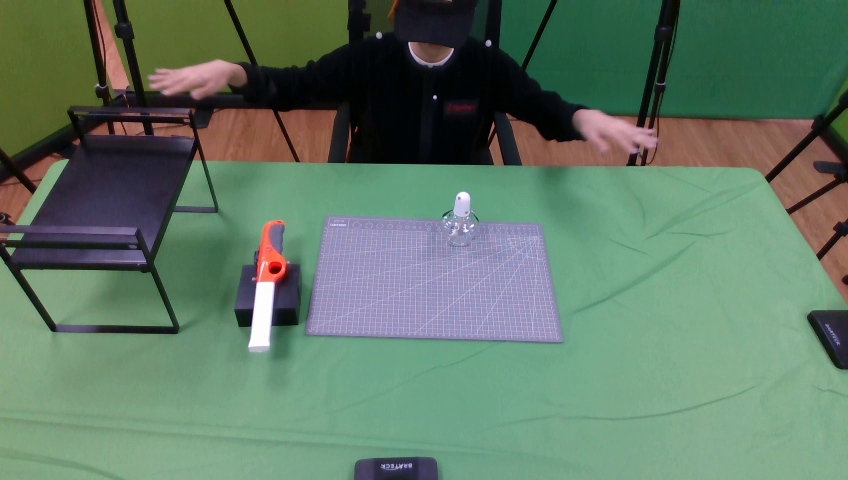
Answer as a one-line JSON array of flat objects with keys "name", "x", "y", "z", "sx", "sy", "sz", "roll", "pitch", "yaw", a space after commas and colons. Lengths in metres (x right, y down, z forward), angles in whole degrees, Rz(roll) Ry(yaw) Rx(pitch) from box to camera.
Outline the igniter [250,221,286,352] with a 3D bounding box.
[{"name": "igniter", "x": -0.269, "y": 0.068, "z": 1.042, "sx": 0.057, "sy": 0.025, "sz": 0.274, "roll": 0, "pitch": 48, "yaw": -7}]

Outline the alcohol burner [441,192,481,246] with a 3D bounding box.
[{"name": "alcohol burner", "x": 0.073, "y": -0.046, "z": 1.176, "sx": 0.078, "sy": 0.119, "sz": 0.077, "roll": 2, "pitch": 44, "yaw": -2}]

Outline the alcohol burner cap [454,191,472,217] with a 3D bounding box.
[{"name": "alcohol burner cap", "x": 0.076, "y": -0.071, "z": 1.150, "sx": 0.034, "sy": 0.048, "sz": 0.033, "roll": 2, "pitch": 42, "yaw": -1}]
